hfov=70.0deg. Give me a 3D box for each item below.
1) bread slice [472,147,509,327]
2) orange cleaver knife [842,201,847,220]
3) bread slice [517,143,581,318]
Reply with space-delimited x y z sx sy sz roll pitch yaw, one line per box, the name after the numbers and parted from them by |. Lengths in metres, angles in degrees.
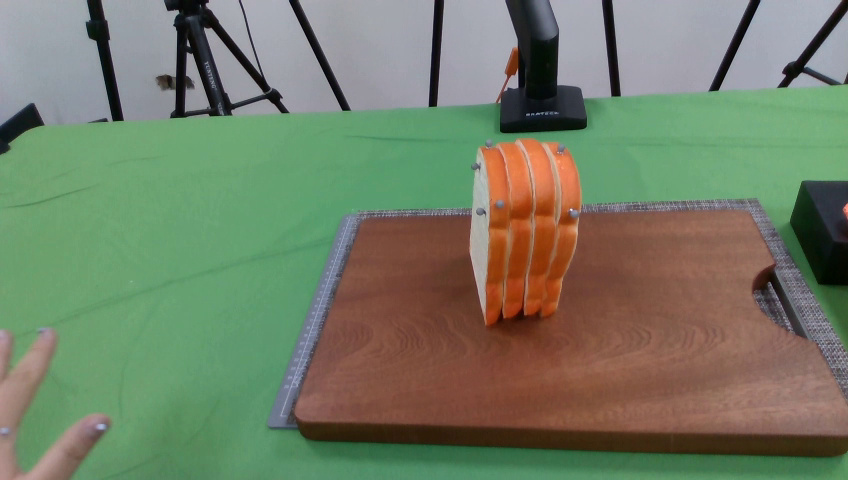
0.056 -0.011 0.522 0.018 0.135 0.106 -3 34 -2 | bread slice
0.387 0.043 0.486 0.077 0.012 0.210 9 59 14 | orange cleaver knife
0.106 -0.014 0.519 0.019 0.132 0.104 0 39 -6 | bread slice
